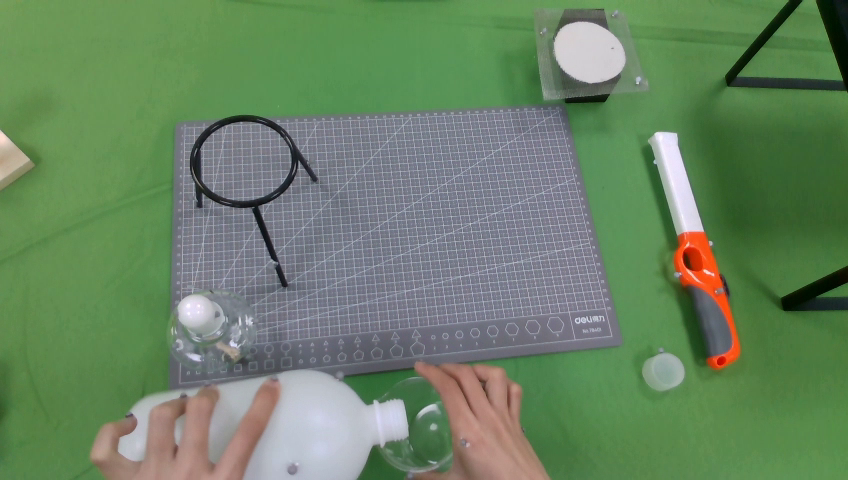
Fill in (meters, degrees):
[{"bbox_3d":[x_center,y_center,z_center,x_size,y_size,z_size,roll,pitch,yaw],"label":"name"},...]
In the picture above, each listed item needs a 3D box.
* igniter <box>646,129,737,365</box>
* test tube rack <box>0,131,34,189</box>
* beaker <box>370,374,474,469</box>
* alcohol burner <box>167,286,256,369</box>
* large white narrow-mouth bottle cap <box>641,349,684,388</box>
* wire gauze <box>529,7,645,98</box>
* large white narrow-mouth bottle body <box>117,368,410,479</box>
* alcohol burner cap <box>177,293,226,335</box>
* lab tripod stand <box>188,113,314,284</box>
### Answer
[{"bbox_3d":[0.294,0.000,0.671,0.057,0.025,0.274,0,69,-18],"label":"igniter"},{"bbox_3d":[-0.511,-0.036,0.564,0.066,0.085,0.242,41,70,10],"label":"test tube rack"},{"bbox_3d":[0.002,0.162,0.530,0.083,0.101,0.073,14,72,17],"label":"beaker"},{"bbox_3d":[-0.192,0.073,0.539,0.078,0.120,0.077,3,66,-7],"label":"alcohol burner"},{"bbox_3d":[0.243,0.132,0.619,0.038,0.024,0.037,2,68,-4],"label":"large white narrow-mouth bottle cap"},{"bbox_3d":[0.187,-0.221,0.705,0.122,0.011,0.124,-3,70,-7],"label":"wire gauze"},{"bbox_3d":[-0.108,0.148,0.446,0.195,0.102,0.101,-9,69,-9],"label":"large white narrow-mouth bottle body"},{"bbox_3d":[-0.188,0.061,0.505,0.034,0.048,0.033,2,74,-5],"label":"alcohol burner cap"},{"bbox_3d":[-0.159,-0.044,0.578,0.149,0.132,0.147,3,68,-7],"label":"lab tripod stand"}]
